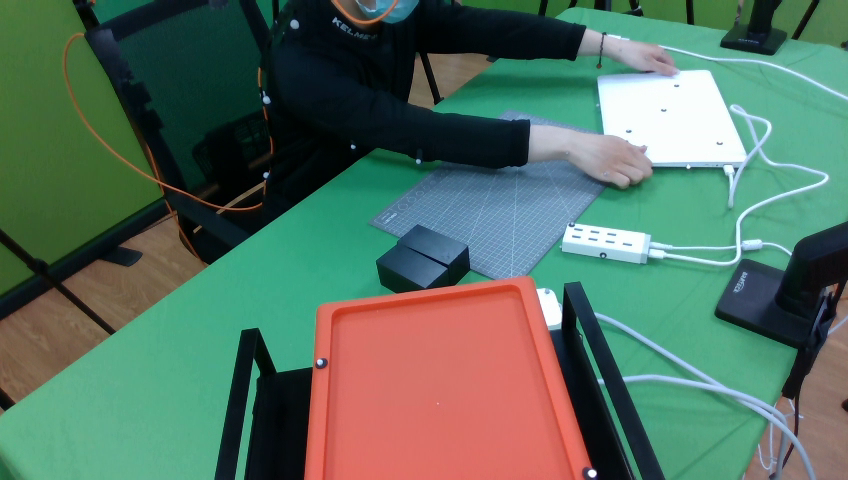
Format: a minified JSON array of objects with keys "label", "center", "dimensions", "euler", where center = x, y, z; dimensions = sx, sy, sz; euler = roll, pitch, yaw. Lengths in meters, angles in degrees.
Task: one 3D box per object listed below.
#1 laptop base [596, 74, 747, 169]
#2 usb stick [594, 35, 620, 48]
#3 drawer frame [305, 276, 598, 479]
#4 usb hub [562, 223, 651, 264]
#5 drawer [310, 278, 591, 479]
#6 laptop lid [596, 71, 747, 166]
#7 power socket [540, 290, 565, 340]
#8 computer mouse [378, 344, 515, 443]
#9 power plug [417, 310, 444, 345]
[{"label":"laptop base","center":[0.469,-0.237,1.189],"dimensions":[0.235,0.023,0.353],"euler":[0,40,11]},{"label":"usb stick","center":[0.443,-0.482,1.466],"dimensions":[0.059,0.021,0.027],"euler":[10,42,10]},{"label":"drawer frame","center":[0.014,0.137,0.486],"dimensions":[0.202,0.083,0.212],"euler":[-8,41,-1]},{"label":"usb hub","center":[0.279,0.004,0.926],"dimensions":[0.124,0.025,0.049],"euler":[10,43,19]},{"label":"drawer","center":[0.013,0.137,0.489],"dimensions":[0.195,0.073,0.210],"euler":[-7,41,0]},{"label":"laptop lid","center":[0.466,-0.248,1.181],"dimensions":[0.241,0.013,0.355],"euler":[1,41,12]},{"label":"power socket","center":[0.081,0.112,0.822],"dimensions":[0.227,0.033,0.072],"euler":[-6,41,0]},{"label":"computer mouse","center":[0.017,0.126,0.521],"dimensions":[0.116,0.041,0.063],"euler":[13,47,30]},{"label":"power plug","center":[0.007,0.122,0.785],"dimensions":[0.035,0.053,0.072],"euler":[1,39,7]}]
